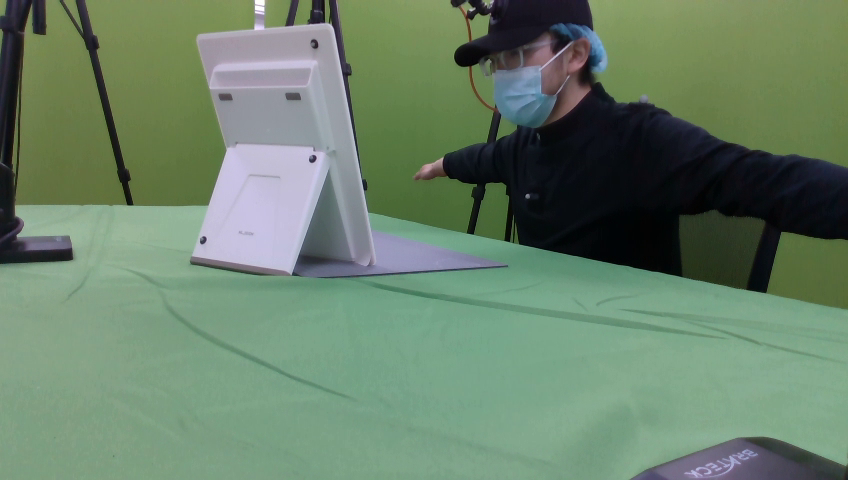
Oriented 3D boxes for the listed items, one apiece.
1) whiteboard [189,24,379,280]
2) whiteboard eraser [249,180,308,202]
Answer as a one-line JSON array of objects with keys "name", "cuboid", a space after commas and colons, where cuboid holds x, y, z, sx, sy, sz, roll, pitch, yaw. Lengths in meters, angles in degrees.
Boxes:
[{"name": "whiteboard", "cuboid": [-0.207, -0.085, 0.729, 0.216, 0.305, 0.144, 7, 30, 30]}, {"name": "whiteboard eraser", "cuboid": [-0.304, -0.103, 1.263, 0.113, 0.042, 0.055, -8, 18, -37]}]
